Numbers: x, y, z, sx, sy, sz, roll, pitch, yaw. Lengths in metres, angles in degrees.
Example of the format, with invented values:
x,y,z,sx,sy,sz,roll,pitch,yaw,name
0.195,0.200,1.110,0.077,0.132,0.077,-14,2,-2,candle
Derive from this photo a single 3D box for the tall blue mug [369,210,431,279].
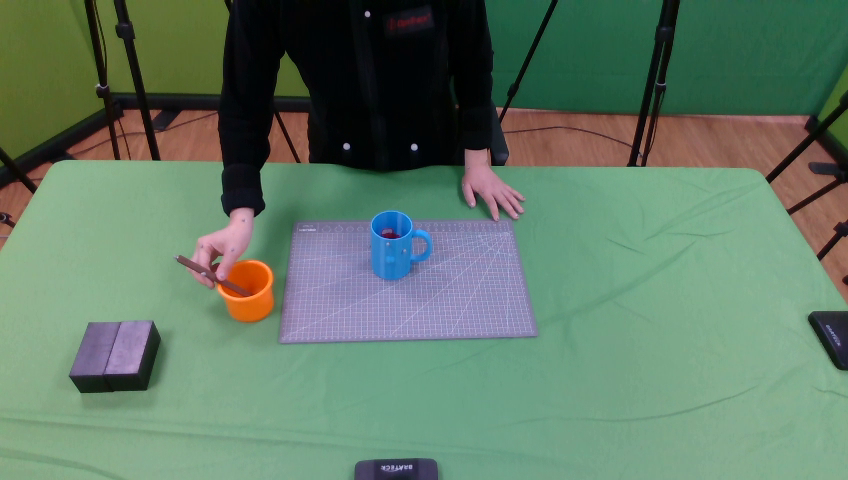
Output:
x,y,z,sx,sy,sz,roll,pitch,yaw,name
-0.049,0.005,1.125,0.107,0.108,0.077,-19,50,-21,tall blue mug

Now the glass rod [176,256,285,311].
x,y,z,sx,sy,sz,roll,pitch,yaw,name
-0.321,0.076,1.016,0.200,0.008,0.008,32,41,-25,glass rod
